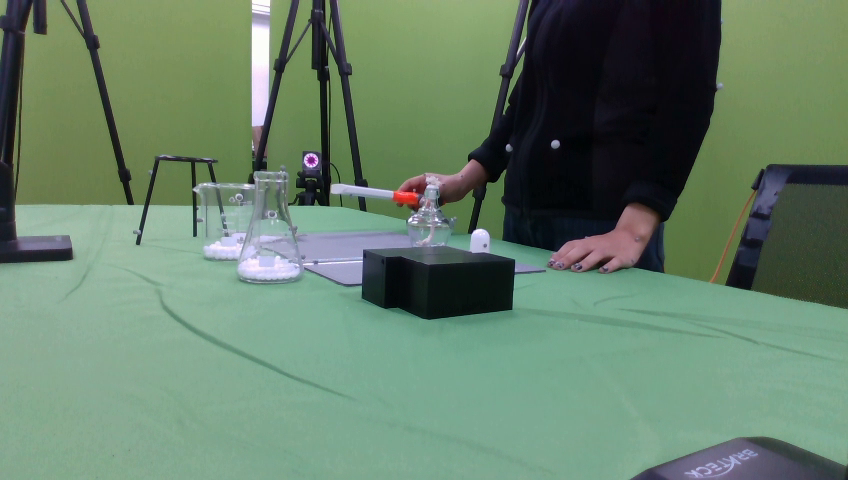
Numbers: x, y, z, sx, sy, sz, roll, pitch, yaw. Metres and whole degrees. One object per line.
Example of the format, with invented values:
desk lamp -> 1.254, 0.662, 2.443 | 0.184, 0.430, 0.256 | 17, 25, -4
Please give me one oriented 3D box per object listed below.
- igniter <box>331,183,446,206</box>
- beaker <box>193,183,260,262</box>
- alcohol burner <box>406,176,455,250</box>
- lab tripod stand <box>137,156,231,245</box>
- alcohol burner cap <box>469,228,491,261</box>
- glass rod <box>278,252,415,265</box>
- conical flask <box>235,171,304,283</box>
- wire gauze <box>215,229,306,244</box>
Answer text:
igniter -> -0.061, -0.088, 1.187 | 0.057, 0.025, 0.278 | 4, 1, 45
beaker -> -0.262, -0.025, 0.806 | 0.084, 0.100, 0.073 | -3, 9, -30
alcohol burner -> 0.012, -0.044, 0.963 | 0.078, 0.119, 0.078 | 4, 7, 0
lab tripod stand -> -0.358, -0.061, 0.927 | 0.148, 0.131, 0.148 | 4, 6, 0
alcohol burner cap -> 0.082, 0.006, 0.878 | 0.034, 0.048, 0.034 | 3, 7, 0
glass rod -> -0.097, 0.024, 0.805 | 0.201, 0.008, 0.008 | -3, 8, -33
conical flask -> -0.172, -0.016, 0.677 | 0.075, 0.122, 0.075 | 2, 7, 0
wire gauze -> -0.273, -0.009, 1.013 | 0.122, 0.011, 0.124 | -2, 9, -33
